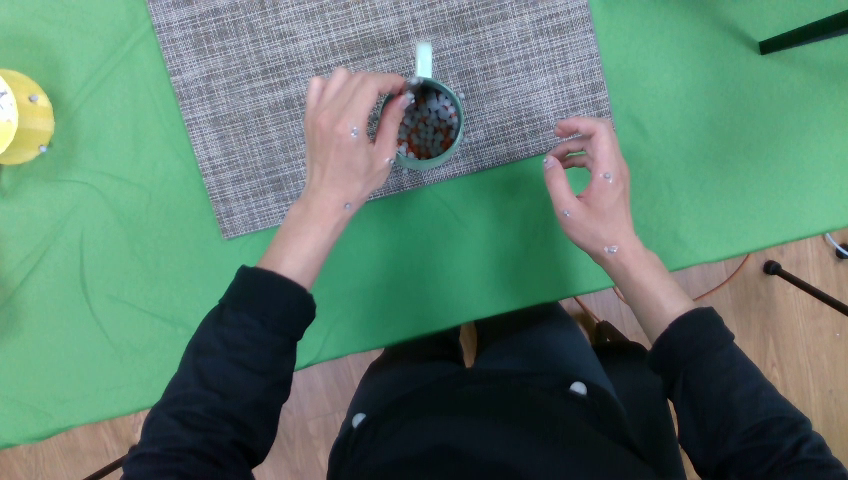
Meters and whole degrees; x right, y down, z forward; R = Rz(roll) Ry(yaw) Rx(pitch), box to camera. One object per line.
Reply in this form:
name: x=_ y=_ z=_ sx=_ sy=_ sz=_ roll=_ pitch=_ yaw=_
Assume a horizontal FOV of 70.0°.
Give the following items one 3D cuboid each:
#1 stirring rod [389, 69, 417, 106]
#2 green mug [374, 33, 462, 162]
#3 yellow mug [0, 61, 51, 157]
stirring rod: x=-0.021 y=-0.137 z=0.553 sx=0.014 sy=0.175 sz=0.006 roll=-19 pitch=97 yaw=-4
green mug: x=-0.005 y=-0.142 z=0.608 sx=0.092 sy=0.104 sz=0.125 roll=1 pitch=98 yaw=-2
yellow mug: x=-0.450 y=-0.118 z=0.612 sx=0.100 sy=0.064 sz=0.131 roll=17 pitch=98 yaw=-6
